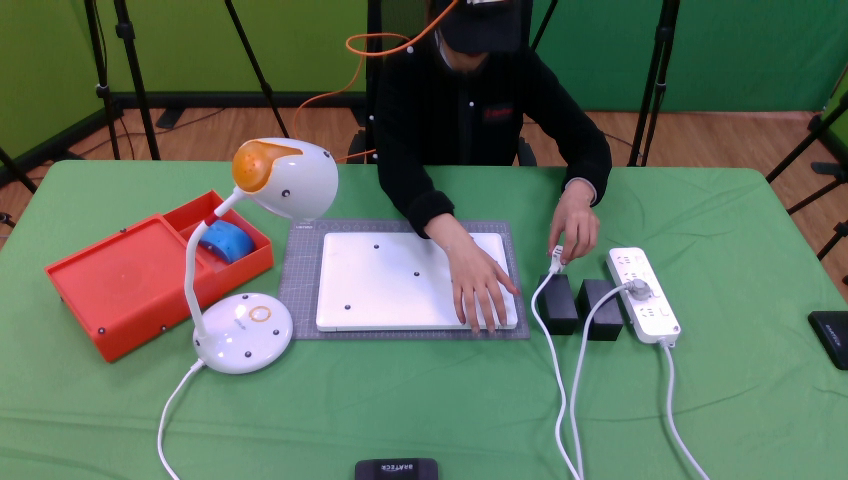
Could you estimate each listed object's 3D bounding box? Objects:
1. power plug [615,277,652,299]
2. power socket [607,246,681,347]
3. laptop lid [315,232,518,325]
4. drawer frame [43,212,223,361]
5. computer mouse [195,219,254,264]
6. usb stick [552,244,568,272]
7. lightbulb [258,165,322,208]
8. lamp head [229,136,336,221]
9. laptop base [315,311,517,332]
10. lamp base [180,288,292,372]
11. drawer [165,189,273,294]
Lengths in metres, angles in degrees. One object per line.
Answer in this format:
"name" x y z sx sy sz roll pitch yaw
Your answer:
"power plug" 0.375 0.088 1.097 0.072 0.053 0.035 5 46 2
"power socket" 0.403 0.096 1.123 0.072 0.033 0.225 -3 46 -5
"laptop lid" -0.015 0.065 1.118 0.357 0.013 0.240 1 43 -3
"drawer frame" -0.497 0.073 1.049 0.213 0.083 0.200 -34 57 -31
"computer mouse" -0.380 -0.003 1.152 0.116 0.041 0.062 28 53 28
"usb stick" 0.252 0.039 1.124 0.021 0.059 0.027 14 49 21
"lightbulb" -0.181 -0.076 0.809 0.059 0.059 0.108 35 10 27
"lamp head" -0.196 -0.085 0.791 0.112 0.112 0.123 36 14 27
"laptop base" -0.016 0.075 1.125 0.355 0.023 0.234 0 42 -4
"lamp base" -0.309 0.107 0.959 0.160 0.181 0.179 29 55 22
"drawer" -0.419 0.021 1.108 0.193 0.073 0.211 37 55 27
